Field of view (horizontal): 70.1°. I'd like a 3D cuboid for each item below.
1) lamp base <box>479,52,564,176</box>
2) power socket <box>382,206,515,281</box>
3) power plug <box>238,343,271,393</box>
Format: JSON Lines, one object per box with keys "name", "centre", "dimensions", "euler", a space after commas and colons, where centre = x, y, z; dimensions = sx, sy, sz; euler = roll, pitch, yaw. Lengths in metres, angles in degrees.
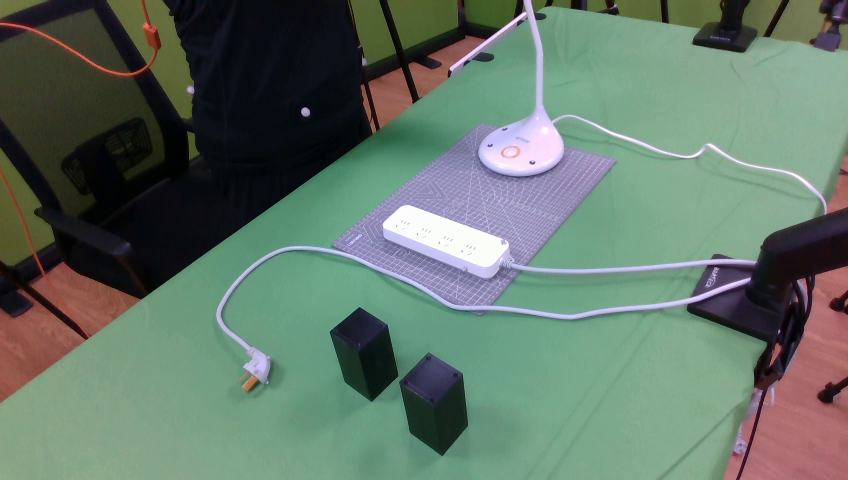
{"name": "lamp base", "centre": [0.181, -0.235, 1.094], "dimensions": [0.159, 0.181, 0.179], "euler": [18, 44, 27]}
{"name": "power socket", "centre": [0.032, 0.002, 0.950], "dimensions": [0.225, 0.033, 0.072], "euler": [21, 49, 29]}
{"name": "power plug", "centre": [-0.230, 0.172, 0.801], "dimensions": [0.072, 0.035, 0.053], "euler": [8, 50, 50]}
